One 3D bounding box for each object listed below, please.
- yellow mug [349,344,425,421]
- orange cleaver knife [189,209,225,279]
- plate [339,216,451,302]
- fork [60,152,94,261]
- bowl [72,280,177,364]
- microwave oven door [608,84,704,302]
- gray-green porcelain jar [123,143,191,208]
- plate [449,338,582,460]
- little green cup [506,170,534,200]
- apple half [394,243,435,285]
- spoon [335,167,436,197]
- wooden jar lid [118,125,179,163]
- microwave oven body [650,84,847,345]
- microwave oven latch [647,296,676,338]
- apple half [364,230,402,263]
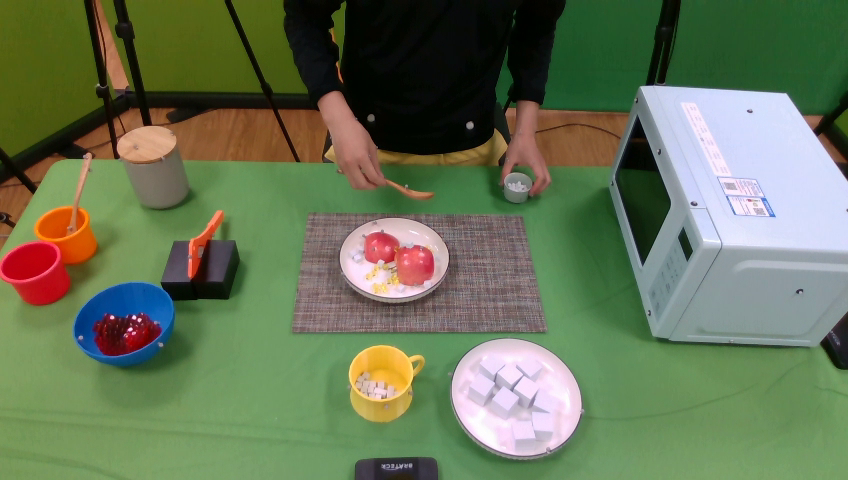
[{"bbox_3d":[-0.054,0.217,0.954,0.131,0.064,0.099,-24,52,-25],"label":"yellow mug"},{"bbox_3d":[-0.400,0.002,1.122,0.012,0.077,0.210,4,23,-4],"label":"orange cleaver knife"},{"bbox_3d":[-0.054,0.038,1.138,0.209,0.038,0.208,2,46,-2],"label":"plate"},{"bbox_3d":[-0.638,-0.063,1.119,0.028,0.018,0.207,12,90,6],"label":"fork"},{"bbox_3d":[-0.472,0.147,0.982,0.151,0.077,0.150,2,46,-2],"label":"bowl"},{"bbox_3d":[0.424,-0.096,1.138,0.039,0.245,0.353,3,46,-1],"label":"microwave oven door"},{"bbox_3d":[-0.531,-0.137,1.213,0.106,0.127,0.105,2,47,-2],"label":"gray-green porcelain jar"},{"bbox_3d":[0.141,0.251,0.956,0.208,0.039,0.206,2,47,-2],"label":"plate"},{"bbox_3d":[0.203,-0.116,1.295,0.061,0.039,0.061,-1,50,2],"label":"little green cup"},{"bbox_3d":[-0.017,0.037,1.121,0.075,0.053,0.080,1,45,-6],"label":"apple half"},{"bbox_3d":[-0.073,-0.110,1.128,0.193,0.022,0.041,18,17,6],"label":"spoon"},{"bbox_3d":[-0.528,-0.181,1.167,0.108,0.021,0.107,4,48,-4],"label":"wooden jar lid"},{"bbox_3d":[0.569,-0.054,1.116,0.326,0.261,0.439,2,46,-1],"label":"microwave oven body"},{"bbox_3d":[0.413,0.133,1.060,0.030,0.029,0.078,4,46,1],"label":"microwave oven latch"},{"bbox_3d":[-0.079,0.004,1.159,0.081,0.033,0.081,2,49,-3],"label":"apple half"}]
